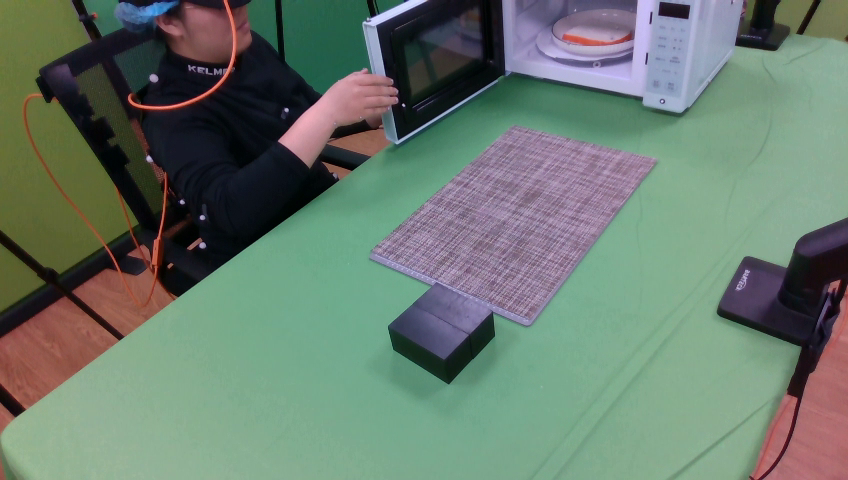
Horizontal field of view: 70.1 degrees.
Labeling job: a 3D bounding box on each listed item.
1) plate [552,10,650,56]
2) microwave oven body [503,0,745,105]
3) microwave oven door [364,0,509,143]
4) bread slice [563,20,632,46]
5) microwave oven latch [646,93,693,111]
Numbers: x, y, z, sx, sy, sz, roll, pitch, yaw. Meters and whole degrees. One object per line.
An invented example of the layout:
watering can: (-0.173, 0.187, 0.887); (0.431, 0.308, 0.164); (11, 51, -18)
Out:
plate: (0.390, -0.454, 1.339); (0.209, 0.038, 0.208); (-5, 39, 5)
microwave oven body: (0.416, -0.486, 1.290); (0.438, 0.261, 0.327); (21, 50, 33)
microwave oven door: (0.042, -0.385, 1.237); (0.039, 0.245, 0.357); (29, 53, 37)
bread slice: (0.393, -0.455, 1.342); (0.105, 0.019, 0.130); (-36, 45, -26)
microwave oven latch: (0.477, -0.273, 1.177); (0.078, 0.029, 0.030); (22, 50, 33)
